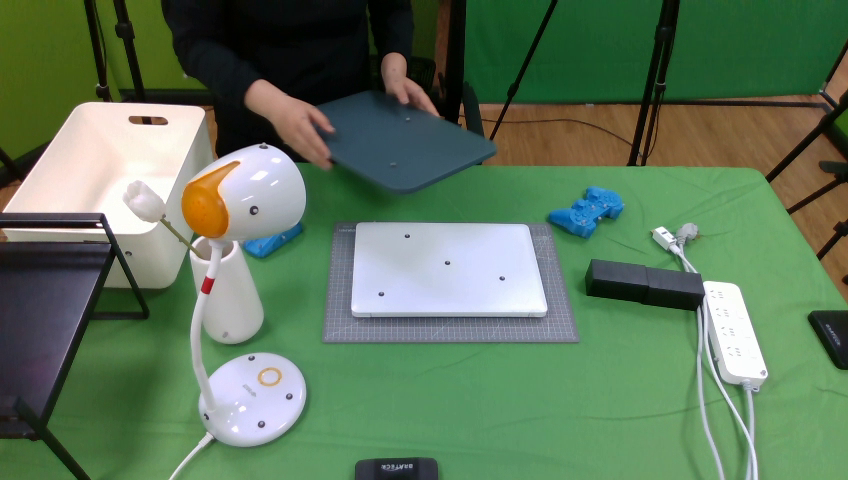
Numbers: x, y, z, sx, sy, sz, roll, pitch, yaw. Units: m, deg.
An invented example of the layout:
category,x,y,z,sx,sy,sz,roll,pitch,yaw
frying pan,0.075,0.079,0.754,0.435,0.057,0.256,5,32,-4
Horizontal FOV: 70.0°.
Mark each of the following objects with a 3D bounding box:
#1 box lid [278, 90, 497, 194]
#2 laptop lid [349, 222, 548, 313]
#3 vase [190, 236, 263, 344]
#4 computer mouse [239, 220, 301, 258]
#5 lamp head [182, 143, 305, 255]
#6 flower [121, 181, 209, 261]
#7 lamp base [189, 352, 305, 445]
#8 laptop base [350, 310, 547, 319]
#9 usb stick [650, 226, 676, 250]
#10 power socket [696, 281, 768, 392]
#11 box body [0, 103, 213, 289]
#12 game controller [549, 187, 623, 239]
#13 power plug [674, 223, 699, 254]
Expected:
category,x,y,z,sx,sy,sz,roll,pitch,yaw
box lid,-0.072,-0.196,1.139,0.263,0.015,0.369,-29,46,-36
laptop lid,0.042,0.046,1.142,0.357,0.013,0.240,2,44,-3
vase,-0.317,0.081,0.971,0.098,0.201,0.097,3,47,-3
computer mouse,-0.300,-0.016,1.178,0.062,0.041,0.117,35,58,23
lamp head,-0.216,-0.044,0.697,0.112,0.113,0.123,23,31,17
flower,-0.329,0.029,0.905,0.038,0.364,0.044,-22,58,-1
lamp base,-0.268,0.196,0.876,0.160,0.181,0.179,25,52,20
laptop base,0.042,0.056,1.149,0.355,0.023,0.234,0,43,-4
usb stick,0.485,-0.008,1.238,0.021,0.027,0.059,-22,44,-12
power socket,0.543,0.161,1.077,0.072,0.033,0.225,5,46,2
box body,-0.563,-0.087,1.140,0.254,0.161,0.361,2,46,-3
game controller,0.346,-0.065,1.272,0.155,0.052,0.096,-31,58,-28
power plug,0.537,0.000,1.244,0.053,0.035,0.072,20,84,-18
